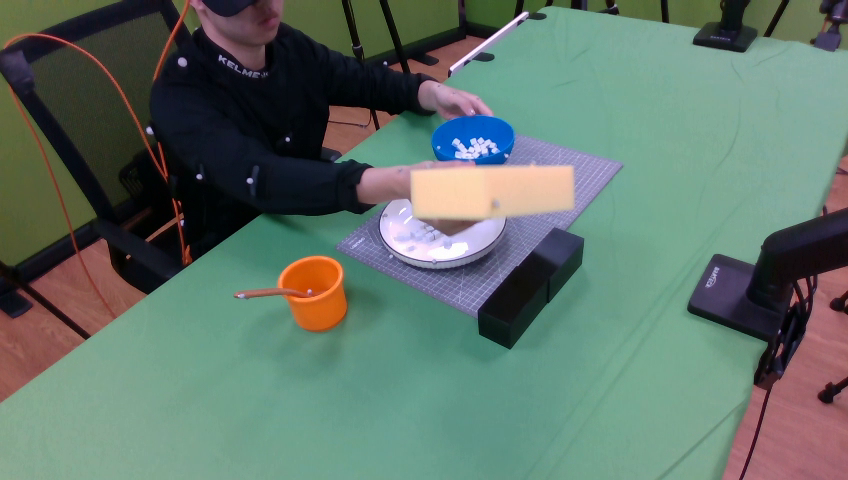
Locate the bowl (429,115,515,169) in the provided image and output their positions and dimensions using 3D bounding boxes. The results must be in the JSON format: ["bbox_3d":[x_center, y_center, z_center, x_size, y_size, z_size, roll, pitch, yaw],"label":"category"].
[{"bbox_3d":[0.089,-0.155,1.089,0.151,0.077,0.150,-4,40,4],"label":"bowl"}]

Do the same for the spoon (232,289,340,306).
[{"bbox_3d":[-0.181,0.075,0.811,0.041,0.195,0.021,16,90,31],"label":"spoon"}]

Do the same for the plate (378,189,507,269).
[{"bbox_3d":[0.031,-0.022,0.974,0.209,0.038,0.208,-4,40,4],"label":"plate"}]

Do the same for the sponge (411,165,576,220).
[{"bbox_3d":[0.095,-0.063,0.784,0.117,0.061,0.208,3,8,42],"label":"sponge"}]
